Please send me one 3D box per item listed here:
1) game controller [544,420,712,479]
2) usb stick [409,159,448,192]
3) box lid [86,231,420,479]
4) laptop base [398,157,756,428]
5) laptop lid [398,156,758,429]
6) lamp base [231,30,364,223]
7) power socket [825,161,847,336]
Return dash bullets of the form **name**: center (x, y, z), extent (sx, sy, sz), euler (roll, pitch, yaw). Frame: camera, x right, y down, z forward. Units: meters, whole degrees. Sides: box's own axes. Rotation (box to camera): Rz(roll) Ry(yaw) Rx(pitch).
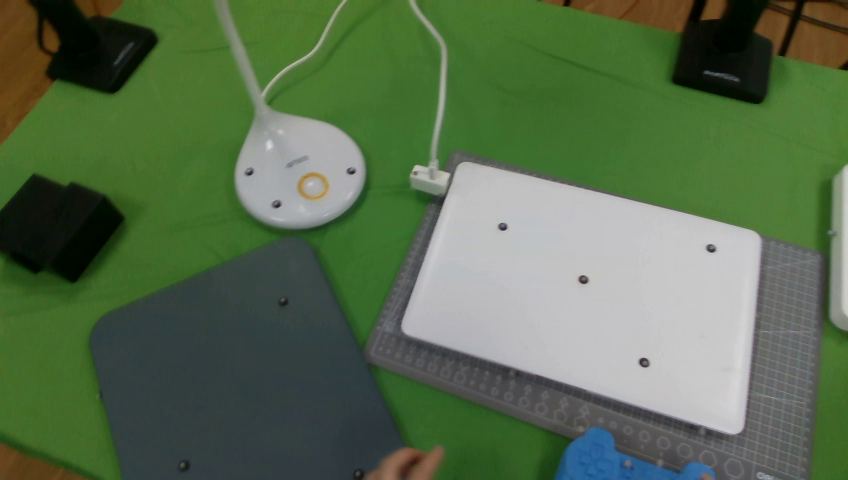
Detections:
- **game controller**: center (0.190, 0.230, 0.555), extent (0.155, 0.052, 0.096), euler (18, 61, 11)
- **usb stick**: center (0.012, -0.075, 0.726), extent (0.059, 0.027, 0.021), euler (19, 59, 8)
- **box lid**: center (-0.181, 0.176, 0.618), extent (0.263, 0.015, 0.368), euler (-25, 65, -10)
- **laptop base**: center (0.172, 0.044, 0.671), extent (0.353, 0.023, 0.234), euler (15, 67, 10)
- **laptop lid**: center (0.171, 0.041, 0.660), extent (0.355, 0.013, 0.240), euler (17, 66, 11)
- **lamp base**: center (-0.166, -0.135, 0.686), extent (0.160, 0.182, 0.177), euler (-38, 64, -17)
- **power socket**: center (0.493, 0.004, 0.674), extent (0.072, 0.033, 0.225), euler (17, 64, 9)
